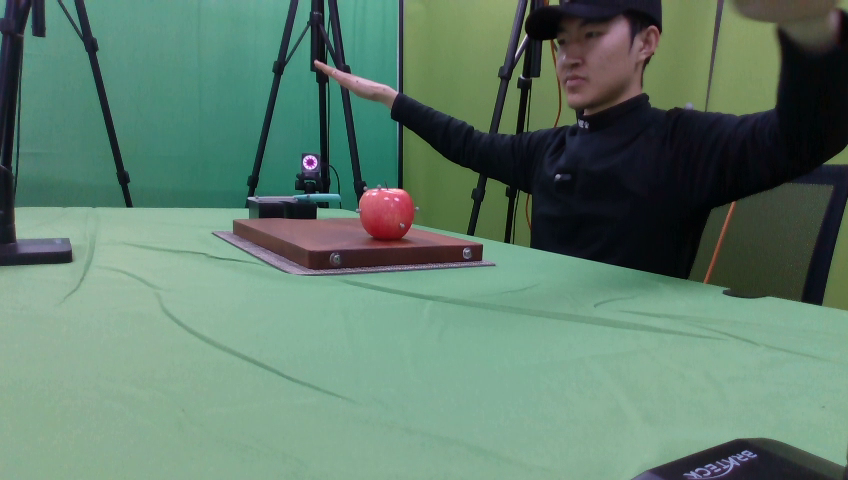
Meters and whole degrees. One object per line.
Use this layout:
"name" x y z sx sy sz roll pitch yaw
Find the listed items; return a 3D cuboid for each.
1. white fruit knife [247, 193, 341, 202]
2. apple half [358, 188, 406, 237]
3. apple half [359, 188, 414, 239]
"white fruit knife" -0.271 -0.088 1.283 0.208 0.016 0.027 -3 -20 -31
"apple half" -0.068 -0.043 0.904 0.082 0.081 0.032 -2 10 -29
"apple half" -0.049 -0.037 0.870 0.081 0.074 0.053 3 10 -30
